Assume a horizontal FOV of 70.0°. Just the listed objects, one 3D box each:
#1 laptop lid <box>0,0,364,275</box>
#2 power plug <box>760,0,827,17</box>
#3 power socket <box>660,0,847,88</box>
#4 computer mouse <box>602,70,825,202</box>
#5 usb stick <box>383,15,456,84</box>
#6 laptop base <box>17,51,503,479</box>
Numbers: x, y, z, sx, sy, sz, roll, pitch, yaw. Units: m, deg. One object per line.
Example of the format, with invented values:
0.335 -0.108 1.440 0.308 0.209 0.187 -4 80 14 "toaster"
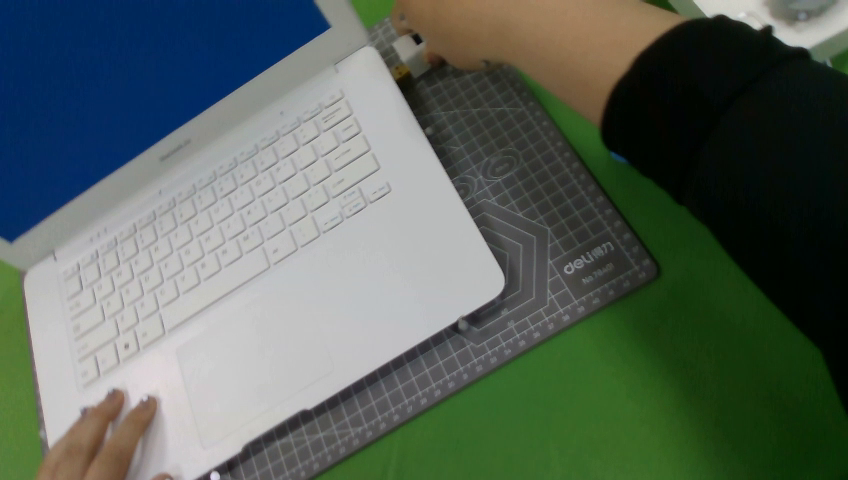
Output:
-0.242 -0.121 0.411 0.357 0.244 0.013 -33 48 7 "laptop lid"
0.230 -0.152 0.344 0.072 0.053 0.035 -21 66 12 "power plug"
0.184 -0.189 0.400 0.072 0.033 0.224 -29 61 9 "power socket"
0.166 -0.066 0.356 0.116 0.041 0.062 20 80 31 "computer mouse"
-0.008 -0.139 0.452 0.059 0.027 0.021 -31 67 11 "usb stick"
-0.143 0.033 0.445 0.354 0.023 0.233 -32 65 6 "laptop base"
